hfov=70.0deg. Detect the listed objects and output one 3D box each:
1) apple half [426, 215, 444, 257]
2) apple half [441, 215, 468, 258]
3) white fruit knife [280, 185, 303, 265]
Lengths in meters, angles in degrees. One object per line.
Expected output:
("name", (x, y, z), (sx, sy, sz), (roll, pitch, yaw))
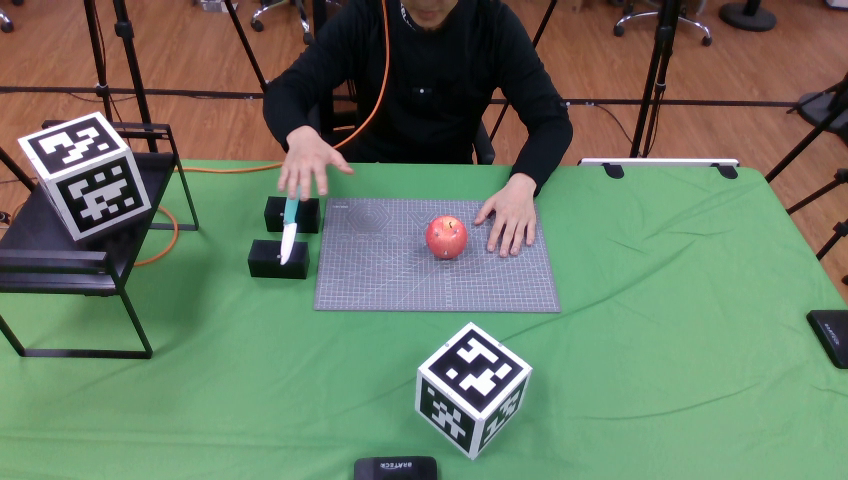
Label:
("apple half", (0.019, -0.006, 1.158), (0.033, 0.081, 0.081), (3, 46, -7))
("apple half", (0.058, -0.004, 1.162), (0.053, 0.075, 0.080), (4, 41, -6))
("white fruit knife", (-0.253, -0.032, 1.143), (0.027, 0.016, 0.206), (6, 46, -9))
